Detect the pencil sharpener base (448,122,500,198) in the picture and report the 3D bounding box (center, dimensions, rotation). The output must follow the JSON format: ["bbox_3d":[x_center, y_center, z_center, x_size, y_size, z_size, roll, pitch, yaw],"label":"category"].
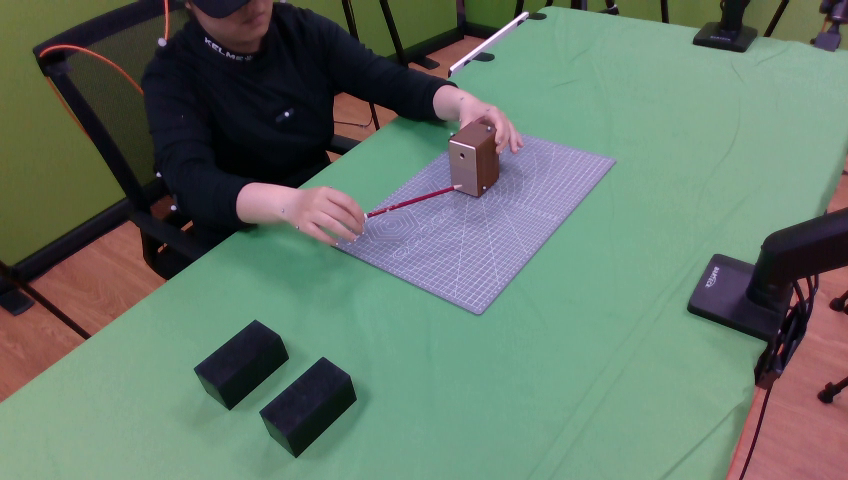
[{"bbox_3d":[0.090,-0.140,1.052,0.061,0.107,0.077,22,48,31],"label":"pencil sharpener base"}]

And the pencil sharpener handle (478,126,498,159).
[{"bbox_3d":[0.118,-0.178,1.074,0.035,0.068,0.031,22,48,30],"label":"pencil sharpener handle"}]

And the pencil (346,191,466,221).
[{"bbox_3d":[-0.026,-0.056,0.949,0.195,0.012,0.012,-13,40,-11],"label":"pencil"}]
